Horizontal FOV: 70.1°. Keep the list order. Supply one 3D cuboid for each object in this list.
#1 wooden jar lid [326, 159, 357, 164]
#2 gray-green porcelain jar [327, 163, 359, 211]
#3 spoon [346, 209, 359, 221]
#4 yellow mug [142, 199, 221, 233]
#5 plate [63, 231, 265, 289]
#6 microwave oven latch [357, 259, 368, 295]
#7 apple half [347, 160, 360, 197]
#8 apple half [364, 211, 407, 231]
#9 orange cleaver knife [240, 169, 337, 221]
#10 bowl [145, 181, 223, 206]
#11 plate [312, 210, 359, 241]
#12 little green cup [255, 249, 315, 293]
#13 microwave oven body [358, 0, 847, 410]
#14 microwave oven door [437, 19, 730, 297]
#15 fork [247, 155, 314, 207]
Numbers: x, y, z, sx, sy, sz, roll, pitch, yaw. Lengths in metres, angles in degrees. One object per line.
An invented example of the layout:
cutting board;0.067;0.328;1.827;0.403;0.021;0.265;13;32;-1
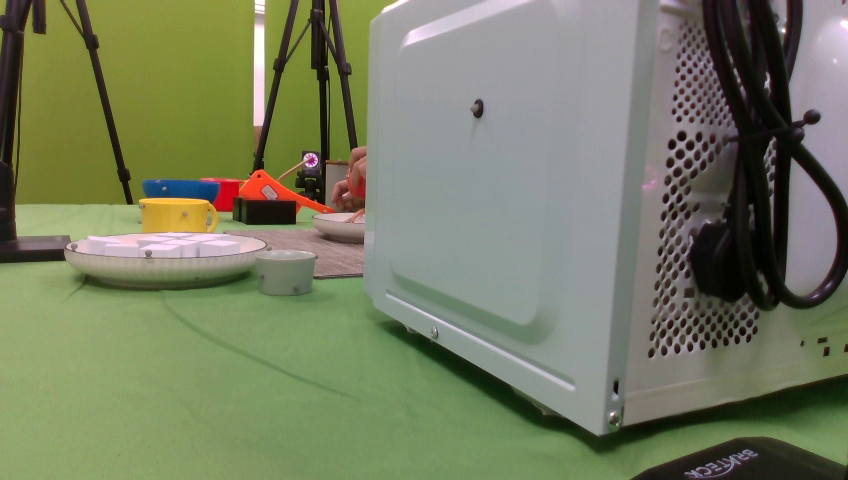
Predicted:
wooden jar lid;-0.185;-0.187;1.481;0.108;0.020;0.108;4;6;0
gray-green porcelain jar;-0.187;-0.125;1.490;0.106;0.126;0.106;2;8;0
spoon;-0.122;-0.047;1.116;0.041;0.021;0.194;-6;17;18
yellow mug;-0.373;-0.030;0.948;0.099;0.064;0.131;6;7;30
plate;-0.288;0.021;0.687;0.208;0.039;0.207;2;8;0
microwave oven latch;-0.019;0.031;0.529;0.079;0.029;0.030;-1;7;-26
apple half;-0.106;-0.121;1.193;0.081;0.074;0.053;12;-7;-37
apple half;-0.068;-0.037;1.103;0.081;0.033;0.081;0;10;0
orange cleaver knife;-0.287;-0.082;1.298;0.212;0.077;0.012;25;-2;-31
bowl;-0.499;-0.081;1.261;0.151;0.077;0.151;2;8;0
plate;-0.091;-0.026;1.063;0.209;0.038;0.209;2;8;0
little green cup;-0.144;0.032;0.627;0.061;0.038;0.061;2;5;0
microwave oven body;0.210;-0.051;0.471;0.444;0.260;0.324;-1;7;-28
microwave oven door;0.180;-0.076;0.618;0.358;0.243;0.039;-2;9;-28
fork;-0.360;-0.147;1.522;0.207;0.018;0.028;-43;7;-7
